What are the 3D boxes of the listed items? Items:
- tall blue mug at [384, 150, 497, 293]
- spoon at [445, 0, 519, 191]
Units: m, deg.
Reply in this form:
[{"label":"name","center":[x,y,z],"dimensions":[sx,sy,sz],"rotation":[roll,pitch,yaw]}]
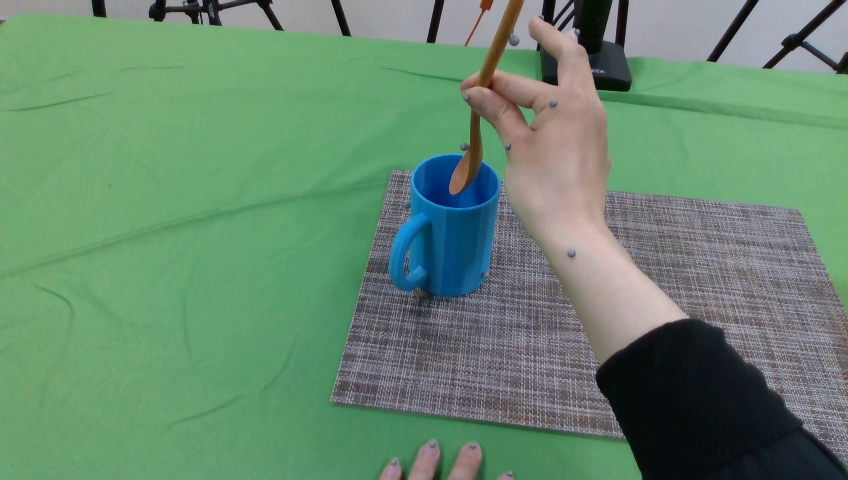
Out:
[{"label":"tall blue mug","center":[0.016,-0.005,0.534],"dimensions":[0.077,0.109,0.106],"rotation":[13,46,9]},{"label":"spoon","center":[0.037,-0.097,0.432],"dimensions":[0.021,0.195,0.041],"rotation":[10,60,0]}]
